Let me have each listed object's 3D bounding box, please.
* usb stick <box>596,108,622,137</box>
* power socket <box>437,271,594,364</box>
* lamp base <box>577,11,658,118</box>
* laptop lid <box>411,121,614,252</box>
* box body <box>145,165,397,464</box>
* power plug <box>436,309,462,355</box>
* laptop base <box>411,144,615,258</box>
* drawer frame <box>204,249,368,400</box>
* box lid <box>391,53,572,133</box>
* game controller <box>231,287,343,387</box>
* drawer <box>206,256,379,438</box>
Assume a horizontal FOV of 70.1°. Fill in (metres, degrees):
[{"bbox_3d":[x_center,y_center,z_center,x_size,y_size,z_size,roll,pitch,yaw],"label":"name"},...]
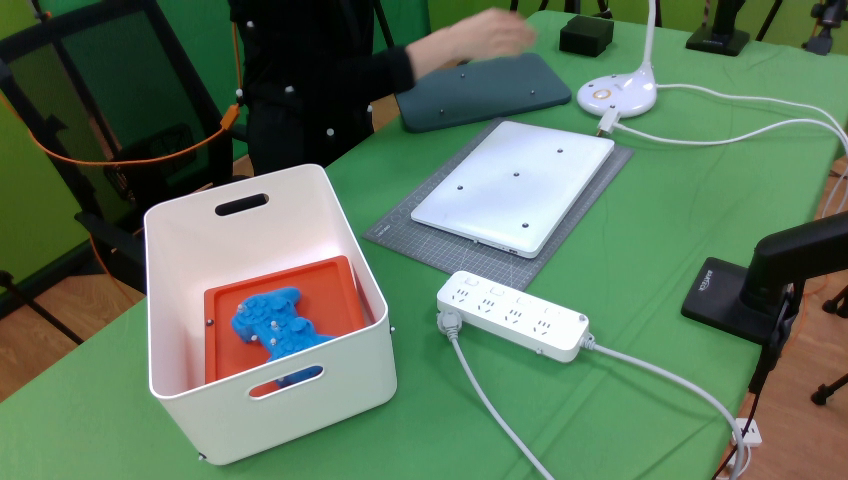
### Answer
[{"bbox_3d":[0.354,-0.223,1.168,0.027,0.059,0.022,37,12,35],"label":"usb stick"},{"bbox_3d":[0.118,0.102,0.830,0.225,0.033,0.072,20,48,28],"label":"power socket"},{"bbox_3d":[0.406,-0.363,1.223,0.180,0.181,0.159,-20,42,-18],"label":"lamp base"},{"bbox_3d":[0.164,-0.112,1.068,0.240,0.013,0.357,19,46,30],"label":"laptop lid"},{"bbox_3d":[-0.205,0.080,0.802,0.255,0.161,0.361,-18,41,-13],"label":"box body"},{"bbox_3d":[0.032,0.126,0.809,0.035,0.053,0.072,3,59,7],"label":"power plug"},{"bbox_3d":[0.167,-0.102,1.074,0.234,0.023,0.355,16,45,30],"label":"laptop base"},{"bbox_3d":[-0.174,0.129,0.791,0.202,0.083,0.212,-16,45,-8],"label":"drawer frame"},{"bbox_3d":[0.123,-0.339,1.366,0.372,0.015,0.261,-12,40,-5],"label":"box lid"},{"bbox_3d":[-0.167,0.110,0.734,0.097,0.052,0.154,-35,47,-22],"label":"game controller"},{"bbox_3d":[-0.176,0.130,0.787,0.195,0.073,0.210,-14,39,-10],"label":"drawer"}]
